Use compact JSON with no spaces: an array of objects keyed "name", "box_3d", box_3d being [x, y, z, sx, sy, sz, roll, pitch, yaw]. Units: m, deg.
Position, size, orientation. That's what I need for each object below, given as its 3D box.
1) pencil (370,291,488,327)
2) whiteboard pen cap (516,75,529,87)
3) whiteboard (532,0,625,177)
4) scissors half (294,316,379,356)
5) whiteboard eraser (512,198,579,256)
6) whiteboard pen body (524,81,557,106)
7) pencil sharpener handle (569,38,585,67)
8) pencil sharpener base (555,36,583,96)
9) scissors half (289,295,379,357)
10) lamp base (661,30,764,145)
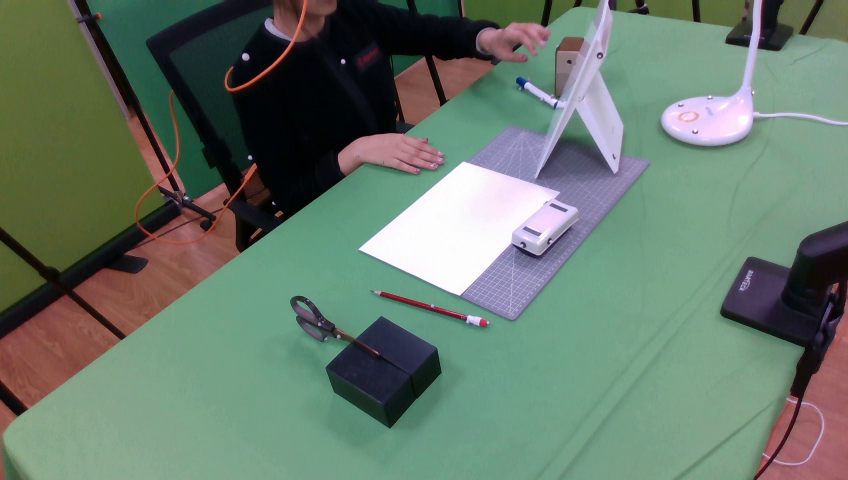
[{"name":"pencil","box_3d":[0.003,0.097,0.877,0.193,0.012,0.012,13,45,26]},{"name":"whiteboard pen cap","box_3d":[0.221,-0.355,1.352,0.018,0.018,0.033,-24,46,-17]},{"name":"whiteboard","box_3d":[0.320,-0.258,1.050,0.144,0.306,0.217,21,45,5]},{"name":"scissors half","box_3d":[-0.119,0.132,0.813,0.174,0.040,0.013,8,31,44]},{"name":"whiteboard eraser","box_3d":[0.191,-0.019,0.948,0.055,0.042,0.113,26,51,36]},{"name":"whiteboard pen body","box_3d":[0.248,-0.321,1.313,0.017,0.017,0.139,-24,44,-17]},{"name":"pencil sharpener handle","box_3d":[0.332,-0.413,1.317,0.036,0.068,0.030,20,47,12]},{"name":"pencil sharpener base","box_3d":[0.317,-0.371,1.290,0.061,0.107,0.076,10,44,22]},{"name":"scissors half","box_3d":[-0.122,0.114,0.803,0.174,0.040,0.013,26,47,32]},{"name":"lamp base","box_3d":[0.535,-0.287,1.095,0.179,0.181,0.159,-10,40,-4]}]
